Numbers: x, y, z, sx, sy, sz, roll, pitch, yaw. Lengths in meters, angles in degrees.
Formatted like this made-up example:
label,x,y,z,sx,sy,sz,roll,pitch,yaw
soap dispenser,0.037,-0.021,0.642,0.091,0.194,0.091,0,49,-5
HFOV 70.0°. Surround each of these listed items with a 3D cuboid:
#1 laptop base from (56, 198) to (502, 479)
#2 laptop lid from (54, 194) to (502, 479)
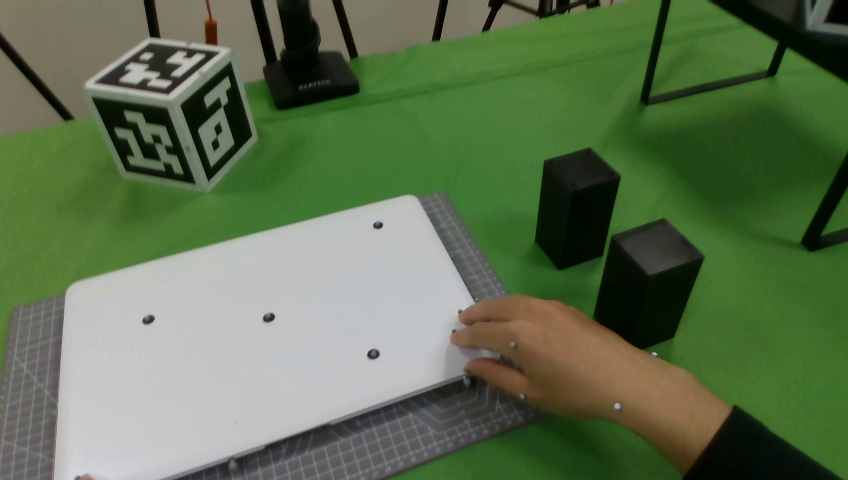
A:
label,x,y,z,sx,sy,sz,roll,pitch,yaw
laptop base,-0.135,0.079,0.548,0.355,0.023,0.232,-16,48,-13
laptop lid,-0.135,0.071,0.538,0.357,0.013,0.239,-15,47,-12
